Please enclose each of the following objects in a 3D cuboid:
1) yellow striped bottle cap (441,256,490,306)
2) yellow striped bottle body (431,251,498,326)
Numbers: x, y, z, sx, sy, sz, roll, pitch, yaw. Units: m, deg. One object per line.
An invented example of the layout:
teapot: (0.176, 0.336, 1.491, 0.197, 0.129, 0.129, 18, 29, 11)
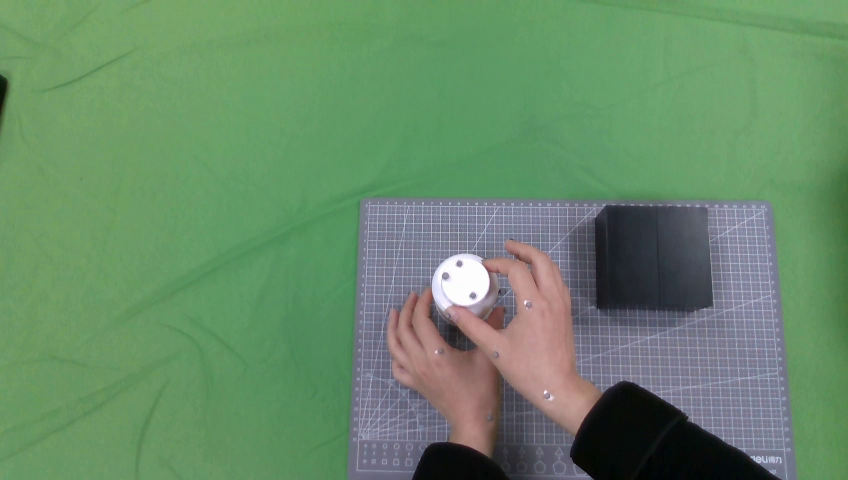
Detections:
yellow striped bottle cap: (0.037, 0.037, 0.542, 0.044, 0.019, 0.044, -1, 78, 4)
yellow striped bottle body: (0.038, 0.048, 0.592, 0.063, 0.121, 0.062, 0, 77, 1)
